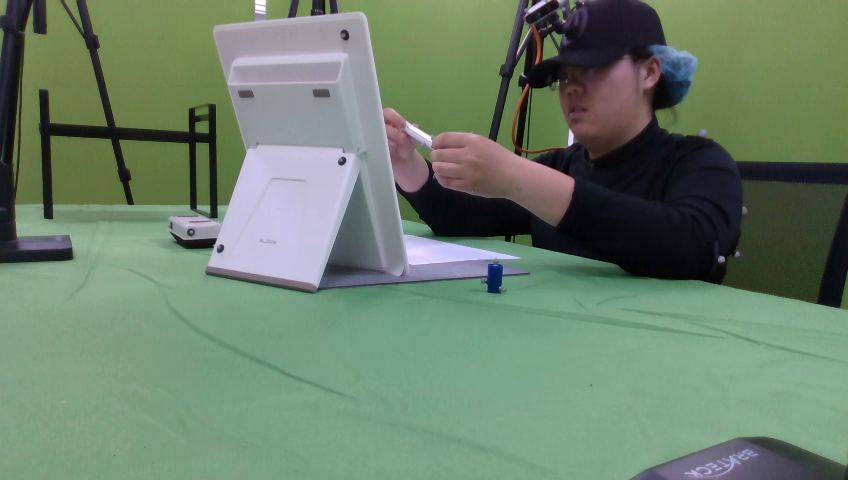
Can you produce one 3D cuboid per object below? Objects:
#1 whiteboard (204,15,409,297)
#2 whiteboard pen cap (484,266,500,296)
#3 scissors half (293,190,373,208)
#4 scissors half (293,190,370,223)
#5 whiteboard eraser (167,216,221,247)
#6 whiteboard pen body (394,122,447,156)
[{"bbox_3d":[-0.166,-0.072,0.669,0.216,0.305,0.144,8,30,30],"label":"whiteboard"},{"bbox_3d":[0.075,0.046,0.667,0.018,0.033,0.018,2,6,0],"label":"whiteboard pen cap"},{"bbox_3d":[-0.201,-0.096,1.332,0.175,0.040,0.013,5,19,-4],"label":"scissors half"},{"bbox_3d":[-0.205,-0.077,1.338,0.175,0.040,0.013,22,12,-8],"label":"scissors half"},{"bbox_3d":[-0.350,-0.013,0.920,0.056,0.042,0.112,0,7,-35],"label":"whiteboard eraser"},{"bbox_3d":[-0.009,-0.152,0.888,0.017,0.017,0.140,-3,27,-35],"label":"whiteboard pen body"}]
